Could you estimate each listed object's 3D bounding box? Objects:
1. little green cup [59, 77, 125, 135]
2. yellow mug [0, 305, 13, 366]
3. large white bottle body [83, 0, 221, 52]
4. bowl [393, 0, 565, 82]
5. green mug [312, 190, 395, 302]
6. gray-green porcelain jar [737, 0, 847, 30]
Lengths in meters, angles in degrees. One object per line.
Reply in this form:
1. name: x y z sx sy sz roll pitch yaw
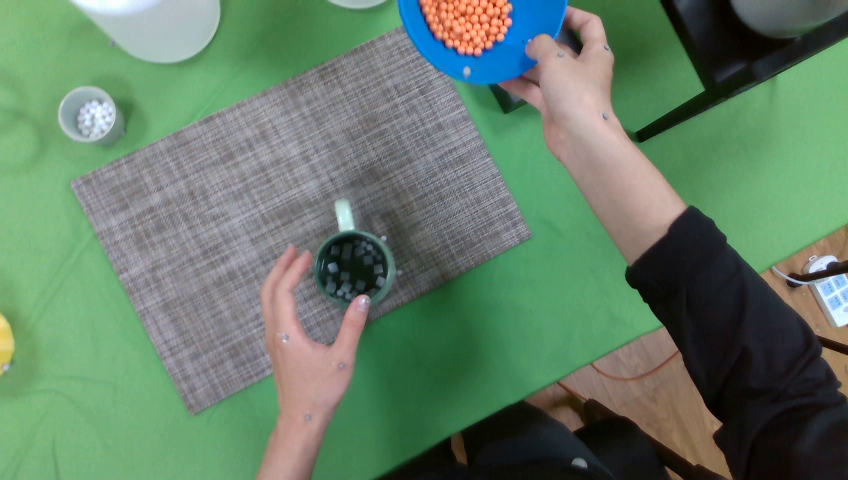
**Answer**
1. little green cup: -0.370 -0.148 0.681 0.061 0.038 0.061 0 88 -5
2. yellow mug: -0.510 0.122 0.644 0.100 0.064 0.130 6 88 -6
3. large white bottle body: -0.296 -0.285 0.620 0.131 0.184 0.130 0 87 -4
4. bowl: 0.039 -0.216 0.531 0.152 0.076 0.152 -4 106 -14
5. green mug: -0.081 0.007 0.665 0.092 0.105 0.125 -10 88 -5
6. gray-green porcelain jar: 0.345 -0.252 0.528 0.106 0.126 0.105 0 87 -5
